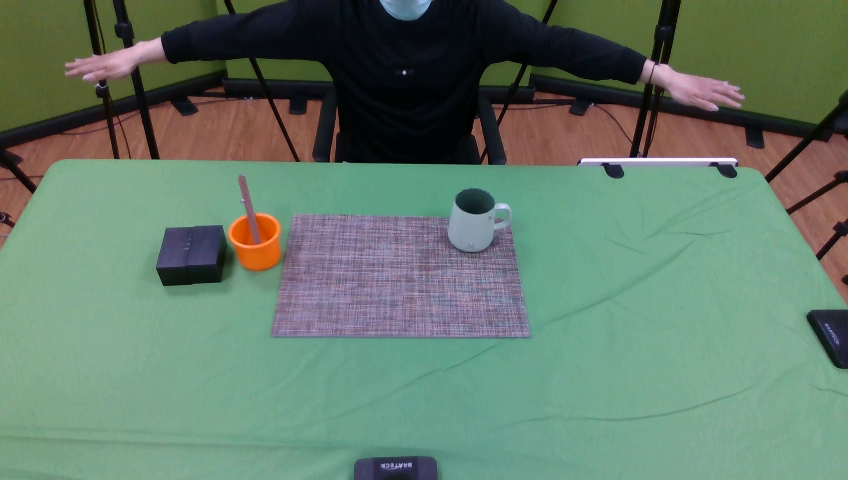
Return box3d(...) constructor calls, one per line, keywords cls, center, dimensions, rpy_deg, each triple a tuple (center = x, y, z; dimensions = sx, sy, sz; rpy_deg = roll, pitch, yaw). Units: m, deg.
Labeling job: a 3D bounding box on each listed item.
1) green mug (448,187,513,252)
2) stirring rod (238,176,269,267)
box3d(cls="green mug", center=(0.111, -0.041, 1.179), dimensions=(0.125, 0.105, 0.092), rpy_deg=(-7, 47, -10))
box3d(cls="stirring rod", center=(-0.318, -0.035, 1.127), dimensions=(0.014, 0.006, 0.176), rpy_deg=(-15, 90, -14))
